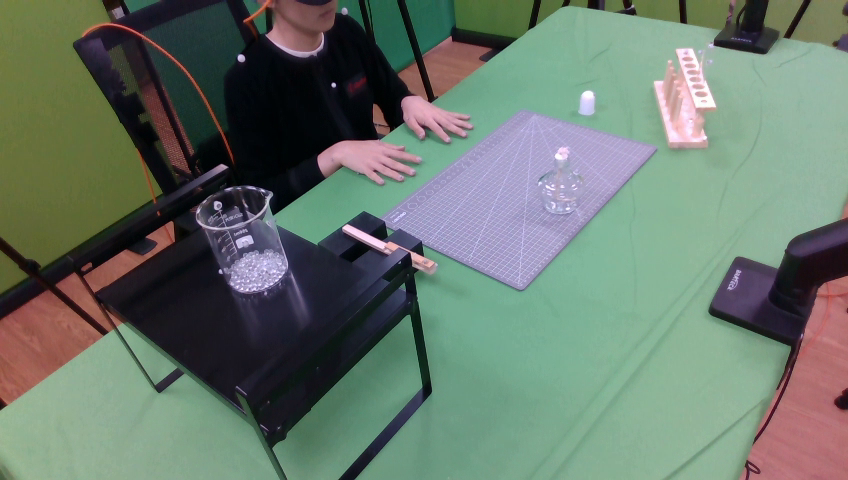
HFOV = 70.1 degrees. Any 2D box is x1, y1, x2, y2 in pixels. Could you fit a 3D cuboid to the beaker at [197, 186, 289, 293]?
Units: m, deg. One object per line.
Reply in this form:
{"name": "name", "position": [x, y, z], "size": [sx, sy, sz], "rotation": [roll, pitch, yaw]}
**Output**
{"name": "beaker", "position": [-0.192, 0.001, 0.666], "size": [0.084, 0.101, 0.073], "rotation": [-33, 47, -27]}

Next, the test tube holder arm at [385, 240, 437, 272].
{"name": "test tube holder arm", "position": [-0.020, 0.022, 0.872], "size": [0.087, 0.010, 0.015], "rotation": [26, 58, 31]}

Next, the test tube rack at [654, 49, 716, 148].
{"name": "test tube rack", "position": [0.502, -0.281, 1.176], "size": [0.066, 0.085, 0.241], "rotation": [1, 41, 11]}

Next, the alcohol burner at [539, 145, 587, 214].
{"name": "alcohol burner", "position": [0.226, -0.102, 0.986], "size": [0.078, 0.119, 0.077], "rotation": [-6, 41, 6]}

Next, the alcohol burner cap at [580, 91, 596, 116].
{"name": "alcohol burner cap", "position": [0.338, -0.283, 1.239], "size": [0.034, 0.048, 0.033], "rotation": [-4, 41, 4]}

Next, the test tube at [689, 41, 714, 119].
{"name": "test tube", "position": [0.509, -0.291, 1.111], "size": [0.017, 0.151, 0.017], "rotation": [-3, 39, 3]}

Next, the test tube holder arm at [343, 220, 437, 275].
{"name": "test tube holder arm", "position": [-0.054, 0.009, 0.899], "size": [0.177, 0.013, 0.015], "rotation": [26, 58, 30]}
